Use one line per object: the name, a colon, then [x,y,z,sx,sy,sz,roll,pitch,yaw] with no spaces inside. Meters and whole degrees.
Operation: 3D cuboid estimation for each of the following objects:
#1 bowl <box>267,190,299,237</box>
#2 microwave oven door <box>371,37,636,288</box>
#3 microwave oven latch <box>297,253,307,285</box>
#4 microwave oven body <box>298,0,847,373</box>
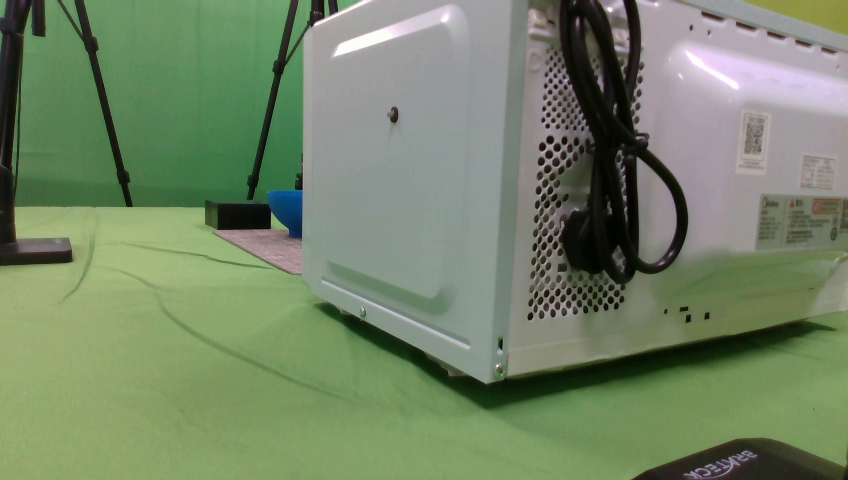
bowl: [-0.202,-0.046,1.069,0.151,0.077,0.151,3,7,0]
microwave oven door: [0.109,-0.080,0.687,0.358,0.243,0.039,-2,9,-33]
microwave oven latch: [-0.082,0.027,0.583,0.079,0.029,0.030,-1,7,-33]
microwave oven body: [0.151,-0.055,0.543,0.444,0.260,0.324,-1,7,-33]
